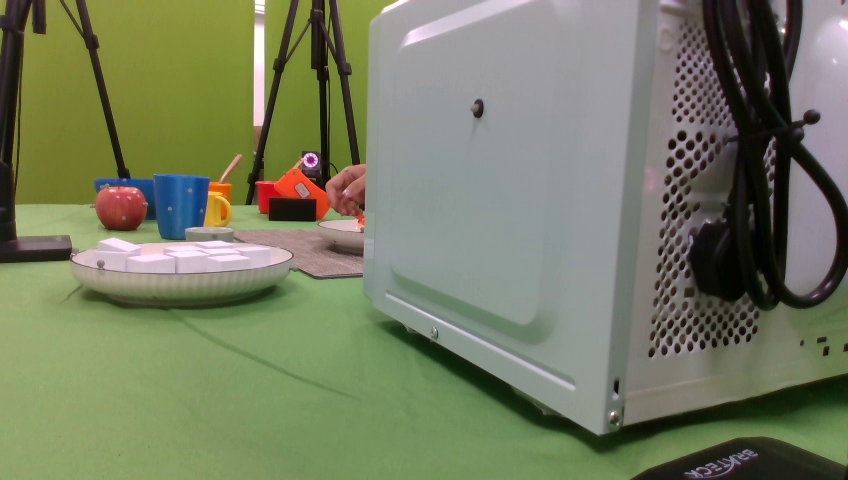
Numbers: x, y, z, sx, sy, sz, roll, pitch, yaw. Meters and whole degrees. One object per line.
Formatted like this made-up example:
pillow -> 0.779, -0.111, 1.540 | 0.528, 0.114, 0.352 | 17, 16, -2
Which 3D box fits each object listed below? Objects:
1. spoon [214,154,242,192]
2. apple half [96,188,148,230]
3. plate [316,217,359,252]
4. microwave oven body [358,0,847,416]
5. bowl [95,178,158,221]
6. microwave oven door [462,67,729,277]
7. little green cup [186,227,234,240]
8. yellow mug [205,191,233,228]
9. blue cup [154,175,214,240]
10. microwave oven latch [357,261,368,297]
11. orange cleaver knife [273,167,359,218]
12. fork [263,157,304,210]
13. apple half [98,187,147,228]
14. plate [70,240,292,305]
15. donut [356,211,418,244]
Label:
spoon -> -0.439, -0.124, 1.317 | 0.041, 0.193, 0.022 | 5, -36, 16
apple half -> -0.517, -0.052, 1.036 | 0.081, 0.074, 0.053 | 2, 10, -26
plate -> -0.064, -0.007, 0.943 | 0.209, 0.038, 0.209 | 3, 8, 0
microwave oven body -> 0.211, -0.047, 0.474 | 0.444, 0.260, 0.324 | -1, 7, -28
bowl -> -0.576, -0.081, 1.217 | 0.151, 0.077, 0.151 | 3, 8, 0
microwave oven door -> 0.205, -0.096, 0.811 | 0.354, 0.243, 0.039 | 9, 10, 40
little green cup -> -0.284, 0.005, 0.805 | 0.061, 0.038, 0.061 | 2, 8, 0
yellow mug -> -0.415, -0.057, 1.132 | 0.130, 0.064, 0.100 | 6, 8, 16
blue cup -> -0.390, -0.053, 0.978 | 0.093, 0.100, 0.092 | 3, 6, 0
microwave oven latch -> -0.019, 0.033, 0.531 | 0.079, 0.029, 0.030 | -1, 7, -27
orange cleaver knife -> -0.238, -0.091, 1.381 | 0.212, 0.077, 0.012 | 31, 0, -19
fork -> -0.345, -0.143, 1.505 | 0.028, 0.019, 0.207 | -4, 46, 28
apple half -> -0.534, -0.059, 1.071 | 0.082, 0.081, 0.032 | -1, 11, -25
plate -> -0.242, 0.031, 0.618 | 0.208, 0.039, 0.207 | 2, 8, 0
donut -> -0.057, -0.019, 0.945 | 0.099, 0.048, 0.099 | 5, 7, 0
